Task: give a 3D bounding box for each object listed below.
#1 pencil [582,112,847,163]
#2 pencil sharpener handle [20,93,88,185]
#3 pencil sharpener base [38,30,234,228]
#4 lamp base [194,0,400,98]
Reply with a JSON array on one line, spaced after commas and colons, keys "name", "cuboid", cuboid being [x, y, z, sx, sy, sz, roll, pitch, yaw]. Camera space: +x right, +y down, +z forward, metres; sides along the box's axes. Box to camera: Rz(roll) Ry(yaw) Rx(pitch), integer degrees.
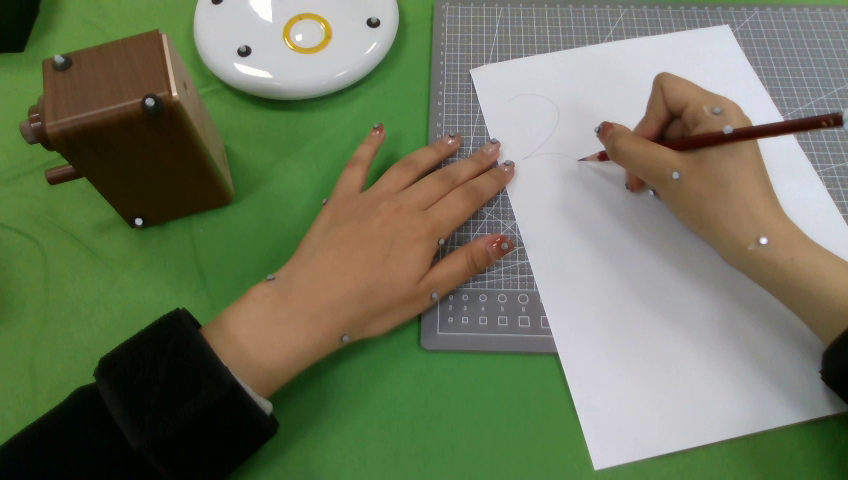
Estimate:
[{"name": "pencil", "cuboid": [0.164, -0.056, 0.343, 0.012, 0.193, 0.012, 0, 90, -34]}, {"name": "pencil sharpener handle", "cuboid": [-0.222, -0.055, 0.359, 0.031, 0.068, 0.035, -17, 65, -7]}, {"name": "pencil sharpener base", "cuboid": [-0.173, -0.063, 0.376, 0.077, 0.108, 0.061, -17, 63, -7]}, {"name": "lamp base", "cuboid": [-0.108, -0.221, 0.417, 0.161, 0.182, 0.177, -27, 62, -13]}]
